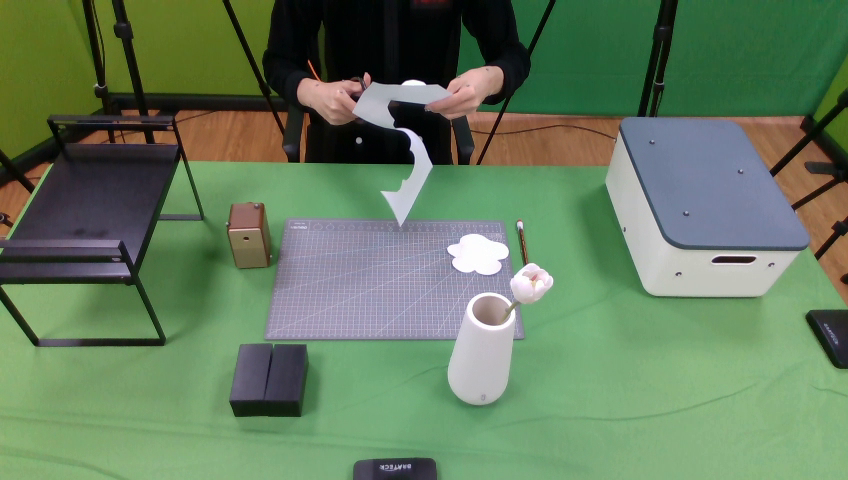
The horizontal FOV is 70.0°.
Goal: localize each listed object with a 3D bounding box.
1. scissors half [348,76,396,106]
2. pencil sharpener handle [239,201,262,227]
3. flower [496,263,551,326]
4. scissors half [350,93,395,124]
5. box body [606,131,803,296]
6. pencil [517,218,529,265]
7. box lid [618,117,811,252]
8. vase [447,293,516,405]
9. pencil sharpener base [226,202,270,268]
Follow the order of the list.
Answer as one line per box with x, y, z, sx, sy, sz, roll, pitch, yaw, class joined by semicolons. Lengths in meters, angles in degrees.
-0.093;-0.258;1.066;0.013;0.040;0.174;-17;33;-28;scissors half
-0.325;-0.056;1.150;0.036;0.068;0.030;-13;47;4;pencil sharpener handle
0.102;0.120;0.853;0.044;0.363;0.038;-2;64;-10;flower
-0.091;-0.237;1.071;0.013;0.040;0.175;-12;3;-29;scissors half
0.530;-0.067;1.204;0.254;0.161;0.361;0;46;-4;box body
0.201;0.028;1.197;0.012;0.012;0.193;1;48;-3;pencil
0.534;-0.117;1.149;0.263;0.015;0.369;0;47;-3;box lid
0.091;0.169;0.921;0.098;0.201;0.097;3;47;-3;vase
-0.323;-0.010;1.124;0.061;0.107;0.076;-3;46;-7;pencil sharpener base
